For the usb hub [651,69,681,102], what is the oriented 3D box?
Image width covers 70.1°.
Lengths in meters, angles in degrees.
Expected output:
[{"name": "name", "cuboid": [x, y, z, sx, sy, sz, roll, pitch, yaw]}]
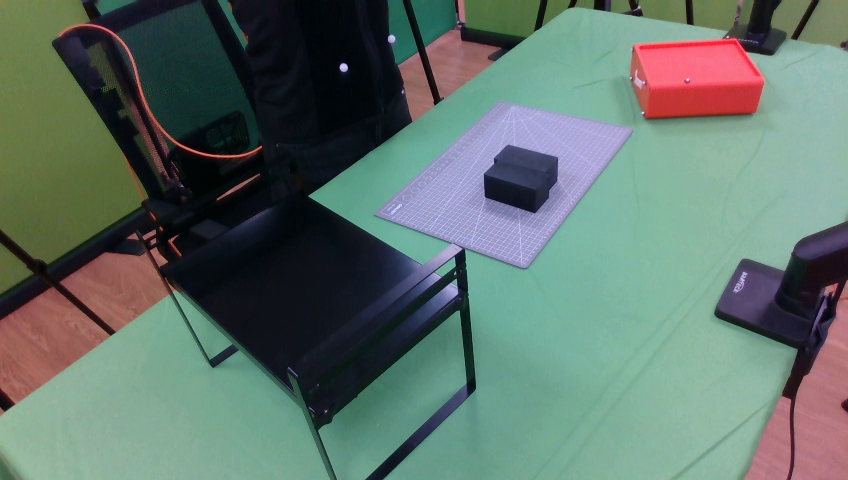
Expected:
[{"name": "usb hub", "cuboid": [0.501, -0.319, 1.249, 0.049, 0.025, 0.125, 10, 38, 20]}]

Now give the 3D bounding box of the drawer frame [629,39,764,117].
[{"name": "drawer frame", "cuboid": [0.542, -0.332, 1.234, 0.213, 0.083, 0.201, -1, 41, 6]}]

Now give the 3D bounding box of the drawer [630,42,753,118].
[{"name": "drawer", "cuboid": [0.541, -0.331, 1.234, 0.211, 0.073, 0.194, -1, 40, 8]}]
